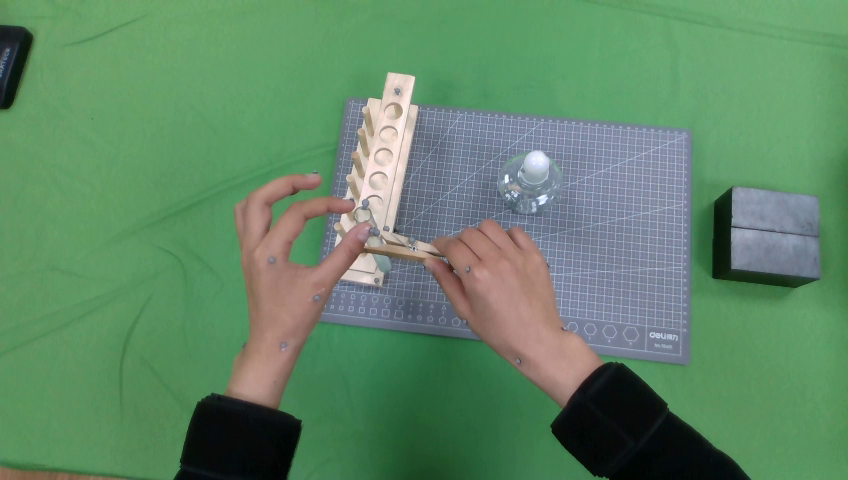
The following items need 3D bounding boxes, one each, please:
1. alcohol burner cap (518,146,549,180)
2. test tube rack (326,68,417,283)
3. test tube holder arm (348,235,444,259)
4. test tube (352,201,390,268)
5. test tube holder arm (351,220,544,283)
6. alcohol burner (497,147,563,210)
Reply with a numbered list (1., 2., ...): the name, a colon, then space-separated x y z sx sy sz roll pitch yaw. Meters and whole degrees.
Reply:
1. alcohol burner cap: 0.123 -0.087 0.672 0.034 0.048 0.033 -1 80 4
2. test tube rack: -0.064 -0.078 0.725 0.067 0.085 0.241 10 76 4
3. test tube holder arm: -0.025 0.007 0.547 0.088 0.015 0.010 6 78 6
4. test tube: -0.046 0.000 0.557 0.017 0.151 0.017 -1 71 3
5. test tube holder arm: 0.020 0.010 0.543 0.178 0.015 0.013 14 80 7
6. alcohol burner: 0.125 -0.078 0.706 0.078 0.119 0.077 -1 77 3
